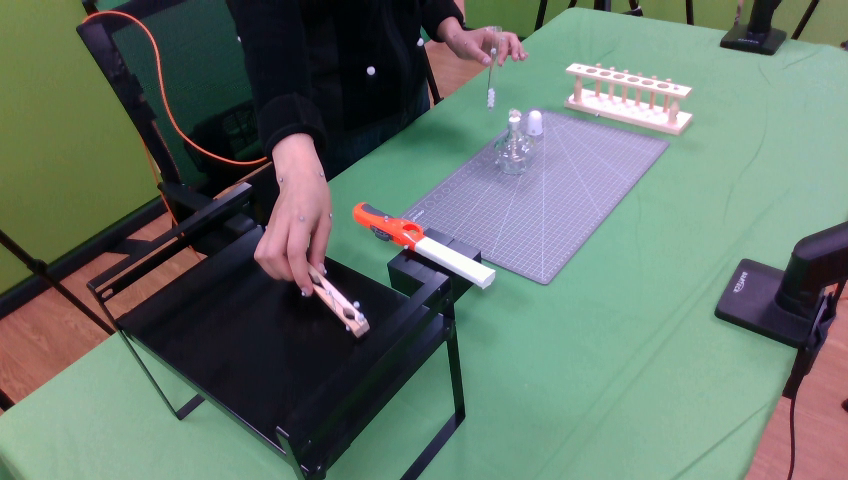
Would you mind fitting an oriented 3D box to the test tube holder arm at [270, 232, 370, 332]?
[{"bbox_3d":[-0.115,0.042,0.647,0.013,0.015,0.177,-36,53,-21],"label":"test tube holder arm"}]

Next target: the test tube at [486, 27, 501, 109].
[{"bbox_3d":[0.126,-0.310,1.101,0.017,0.150,0.017,1,36,0],"label":"test tube"}]

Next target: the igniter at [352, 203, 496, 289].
[{"bbox_3d":[-0.011,0.002,0.899,0.274,0.025,0.057,27,45,33],"label":"igniter"}]

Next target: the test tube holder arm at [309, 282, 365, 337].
[{"bbox_3d":[-0.091,0.068,0.620,0.010,0.015,0.087,-36,53,-20],"label":"test tube holder arm"}]

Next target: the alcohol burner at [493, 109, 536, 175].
[{"bbox_3d":[0.163,-0.179,1.087,0.078,0.119,0.077,-5,39,5],"label":"alcohol burner"}]

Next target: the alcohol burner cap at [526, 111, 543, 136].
[{"bbox_3d":[0.219,-0.232,1.196,0.034,0.048,0.033,-4,41,4],"label":"alcohol burner cap"}]

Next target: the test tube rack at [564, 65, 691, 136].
[{"bbox_3d":[0.404,-0.288,1.204,0.240,0.085,0.067,24,49,32],"label":"test tube rack"}]
